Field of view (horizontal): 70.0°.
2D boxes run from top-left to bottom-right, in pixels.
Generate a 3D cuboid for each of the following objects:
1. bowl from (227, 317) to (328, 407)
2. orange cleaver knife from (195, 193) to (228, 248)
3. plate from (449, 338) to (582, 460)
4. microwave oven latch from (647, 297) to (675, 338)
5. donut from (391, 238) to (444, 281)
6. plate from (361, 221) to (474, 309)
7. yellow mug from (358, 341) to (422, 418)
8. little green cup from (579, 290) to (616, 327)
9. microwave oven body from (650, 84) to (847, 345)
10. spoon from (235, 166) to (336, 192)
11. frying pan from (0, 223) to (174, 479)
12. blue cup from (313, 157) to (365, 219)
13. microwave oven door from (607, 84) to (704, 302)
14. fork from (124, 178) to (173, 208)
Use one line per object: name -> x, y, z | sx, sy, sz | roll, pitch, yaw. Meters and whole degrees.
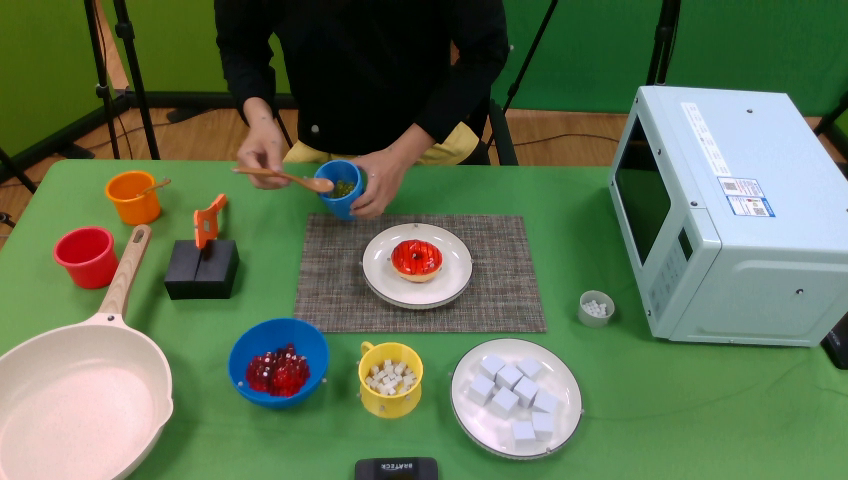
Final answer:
bowl -> -0.223, 0.203, 0.947 | 0.151, 0.077, 0.150 | 2, 46, -2
orange cleaver knife -> -0.406, -0.041, 1.163 | 0.012, 0.077, 0.210 | 0, 18, -3
plate -> 0.141, 0.251, 0.955 | 0.208, 0.039, 0.206 | 2, 46, -2
microwave oven latch -> 0.413, 0.133, 1.060 | 0.030, 0.029, 0.078 | 5, 46, 2
donut -> -0.012, 0.035, 1.128 | 0.099, 0.048, 0.098 | 3, 43, -3
plate -> -0.011, 0.049, 1.130 | 0.209, 0.038, 0.208 | 2, 46, -2
yellow mug -> -0.063, 0.210, 0.961 | 0.100, 0.064, 0.130 | -29, 54, -27
little green cup -> 0.308, 0.124, 1.086 | 0.061, 0.039, 0.061 | 1, 45, -1
microwave oven body -> 0.569, -0.054, 1.115 | 0.326, 0.261, 0.439 | 2, 46, -1
spoon -> -0.223, -0.104, 0.992 | 0.194, 0.021, 0.041 | 10, 34, -51
frying pan -> -0.505, 0.169, 0.941 | 0.307, 0.103, 0.485 | 5, 54, -1
blue cup -> -0.146, -0.087, 1.100 | 0.092, 0.101, 0.092 | -3, 64, 6
microwave oven door -> 0.424, -0.096, 1.137 | 0.039, 0.245, 0.353 | 2, 46, -1
fork -> -0.525, -0.089, 1.153 | 0.207, 0.019, 0.028 | -17, 27, 45
